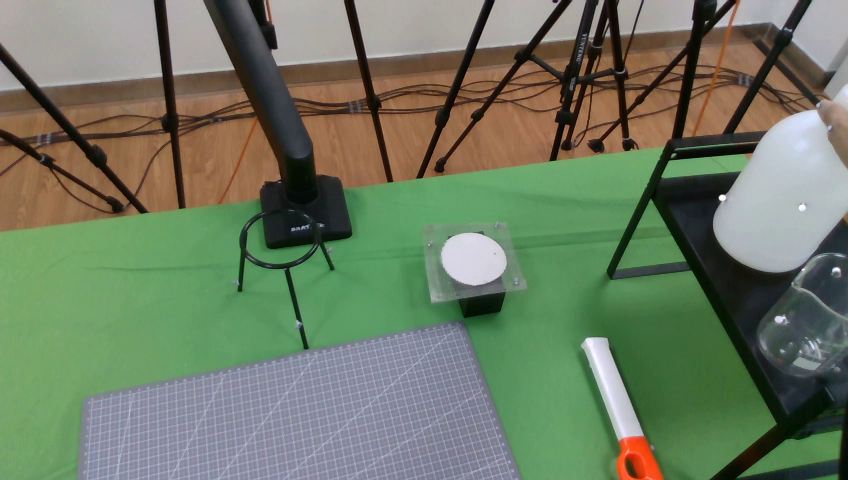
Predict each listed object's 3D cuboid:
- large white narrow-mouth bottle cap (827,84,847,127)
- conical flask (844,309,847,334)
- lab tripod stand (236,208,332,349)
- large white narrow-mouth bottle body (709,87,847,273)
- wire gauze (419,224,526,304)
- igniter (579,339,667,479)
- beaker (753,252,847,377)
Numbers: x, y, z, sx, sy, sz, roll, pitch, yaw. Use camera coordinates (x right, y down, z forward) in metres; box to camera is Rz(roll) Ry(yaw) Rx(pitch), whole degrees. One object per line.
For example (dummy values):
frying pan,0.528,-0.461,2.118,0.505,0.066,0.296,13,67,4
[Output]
large white narrow-mouth bottle cap,0.370,-0.115,0.519,0.038,0.024,0.037,3,50,-3
conical flask,0.446,0.058,0.541,0.075,0.123,0.074,2,50,-2
lab tripod stand,-0.166,0.040,0.734,0.148,0.132,0.147,4,51,-4
large white narrow-mouth bottle body,0.363,-0.061,0.586,0.102,0.196,0.101,3,50,-3
wire gauze,0.059,0.025,0.782,0.122,0.011,0.123,-4,50,-8
igniter,0.231,0.232,0.676,0.057,0.025,0.273,2,49,-16
beaker,0.346,0.070,0.539,0.084,0.101,0.073,7,50,2
